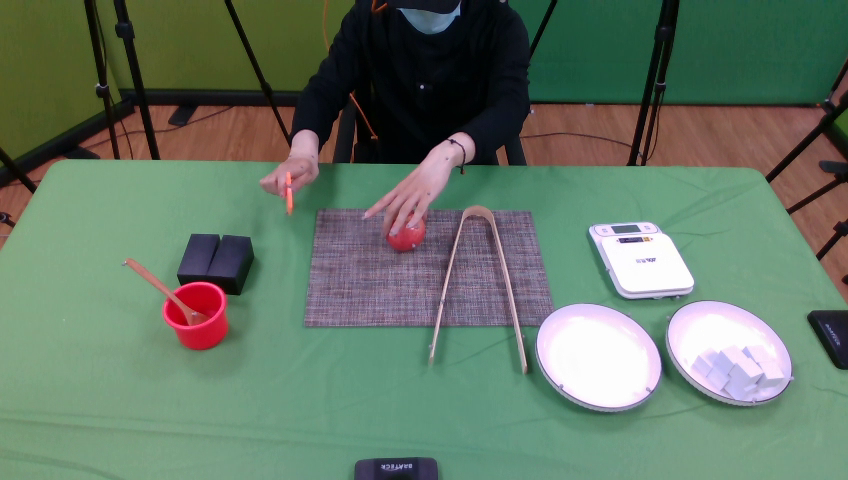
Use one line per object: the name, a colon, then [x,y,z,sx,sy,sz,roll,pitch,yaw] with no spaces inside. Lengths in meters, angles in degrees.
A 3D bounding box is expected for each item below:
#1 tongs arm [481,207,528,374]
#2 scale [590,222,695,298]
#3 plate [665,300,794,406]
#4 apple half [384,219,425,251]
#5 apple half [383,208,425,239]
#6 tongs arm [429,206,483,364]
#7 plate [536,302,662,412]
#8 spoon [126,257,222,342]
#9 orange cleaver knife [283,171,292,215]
tongs arm: [0.149,0.077,1.124,0.028,0.028,0.385,-4,46,-2]
scale: [0.424,0.031,1.189,0.149,0.032,0.199,-3,46,-7]
plate: [0.513,0.194,1.034,0.208,0.039,0.206,2,46,-2]
apple half: [-0.038,-0.002,1.154,0.081,0.081,0.032,4,43,-1]
apple half: [-0.038,-0.029,1.181,0.081,0.075,0.053,1,43,1]
tongs arm: [0.064,0.069,1.124,0.051,0.026,0.382,8,45,5]
plate: [0.288,0.196,1.016,0.209,0.038,0.208,2,46,-2]
spoon: [-0.408,0.096,0.990,0.194,0.021,0.041,50,53,-18]
orange cleaver knife: [-0.249,-0.084,1.108,0.012,0.077,0.211,-3,5,-14]
